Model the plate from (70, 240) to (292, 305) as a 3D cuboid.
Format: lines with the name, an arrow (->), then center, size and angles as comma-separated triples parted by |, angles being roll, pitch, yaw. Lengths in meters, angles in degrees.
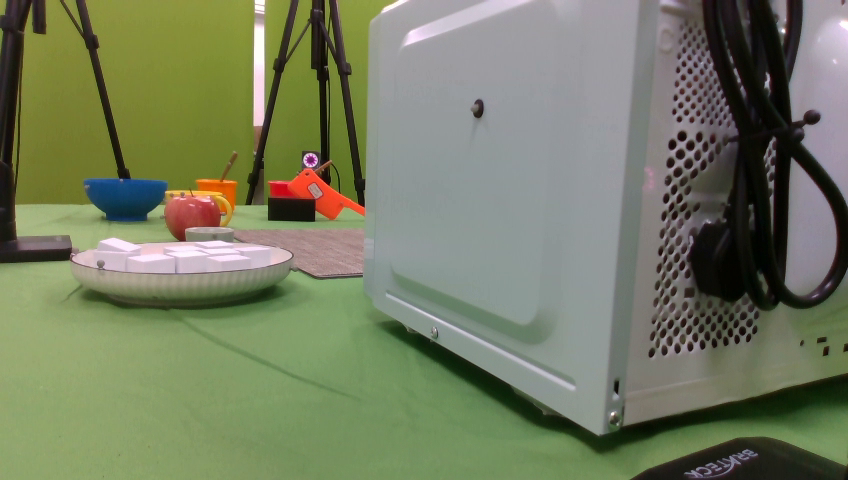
plate -> -0.242, 0.031, 0.618 | 0.208, 0.039, 0.207 | 2, 8, 0

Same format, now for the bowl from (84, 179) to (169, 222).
bowl -> -0.584, -0.078, 1.193 | 0.151, 0.077, 0.151 | 3, 8, 0

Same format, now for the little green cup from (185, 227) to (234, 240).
little green cup -> -0.285, 0.005, 0.805 | 0.061, 0.038, 0.061 | 2, 8, 0

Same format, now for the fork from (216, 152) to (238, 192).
fork -> -0.455, -0.132, 1.366 | 0.028, 0.018, 0.207 | -2, -35, -37

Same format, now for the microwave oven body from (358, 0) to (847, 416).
microwave oven body -> 0.211, -0.047, 0.474 | 0.444, 0.260, 0.324 | -1, 7, -28

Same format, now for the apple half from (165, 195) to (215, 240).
apple half -> -0.377, -0.038, 0.964 | 0.082, 0.081, 0.032 | -4, 15, -39

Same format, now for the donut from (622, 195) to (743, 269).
donut -> 0.219, -0.006, 0.518 | 0.099, 0.048, 0.099 | 24, 0, 1

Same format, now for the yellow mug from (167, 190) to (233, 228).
yellow mug -> -0.415, -0.057, 1.132 | 0.130, 0.064, 0.100 | 6, 8, 16

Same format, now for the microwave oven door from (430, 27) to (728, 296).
microwave oven door -> 0.177, -0.074, 0.628 | 0.358, 0.243, 0.039 | -1, 8, -26

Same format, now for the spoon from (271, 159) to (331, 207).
spoon -> -0.308, -0.142, 1.514 | 0.193, 0.021, 0.041 | -41, 4, 9

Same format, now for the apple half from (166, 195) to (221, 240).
apple half -> -0.351, -0.032, 0.935 | 0.081, 0.074, 0.053 | 1, 11, -40

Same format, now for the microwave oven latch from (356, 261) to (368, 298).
microwave oven latch -> -0.019, 0.033, 0.530 | 0.079, 0.029, 0.030 | -1, 7, -26

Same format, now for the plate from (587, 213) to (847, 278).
plate -> 0.244, 0.001, 0.512 | 0.209, 0.038, 0.209 | 2, 6, 0

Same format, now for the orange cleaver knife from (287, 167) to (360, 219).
orange cleaver knife -> -0.209, -0.089, 1.383 | 0.212, 0.077, 0.012 | 31, 4, -15
